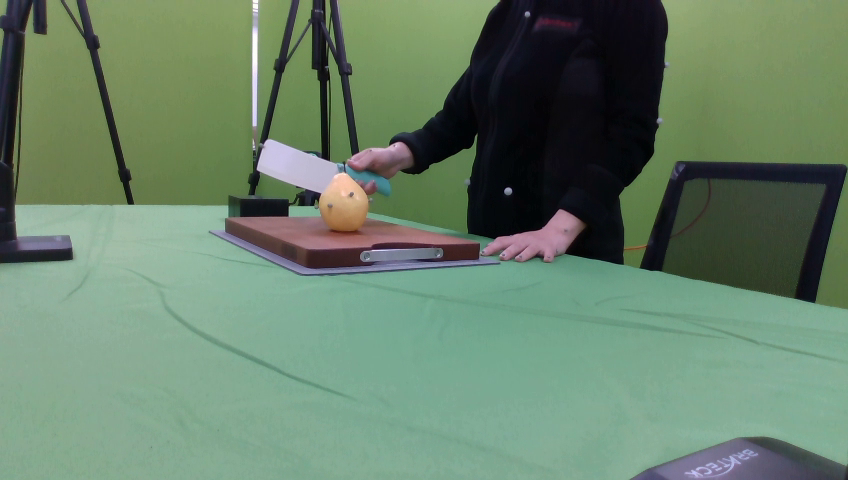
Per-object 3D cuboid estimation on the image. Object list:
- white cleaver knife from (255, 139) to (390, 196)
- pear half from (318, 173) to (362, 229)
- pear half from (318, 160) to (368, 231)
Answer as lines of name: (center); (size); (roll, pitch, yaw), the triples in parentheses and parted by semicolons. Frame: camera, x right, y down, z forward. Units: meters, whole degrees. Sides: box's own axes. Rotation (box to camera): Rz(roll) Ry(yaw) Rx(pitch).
white cleaver knife: (-0.168, -0.110, 1.057); (0.021, 0.066, 0.288); (11, -1, 44)
pear half: (-0.136, -0.062, 0.959); (0.071, 0.088, 0.031); (-7, 10, -29)
pear half: (-0.120, -0.067, 0.927); (0.077, 0.110, 0.055); (-7, 11, -29)
